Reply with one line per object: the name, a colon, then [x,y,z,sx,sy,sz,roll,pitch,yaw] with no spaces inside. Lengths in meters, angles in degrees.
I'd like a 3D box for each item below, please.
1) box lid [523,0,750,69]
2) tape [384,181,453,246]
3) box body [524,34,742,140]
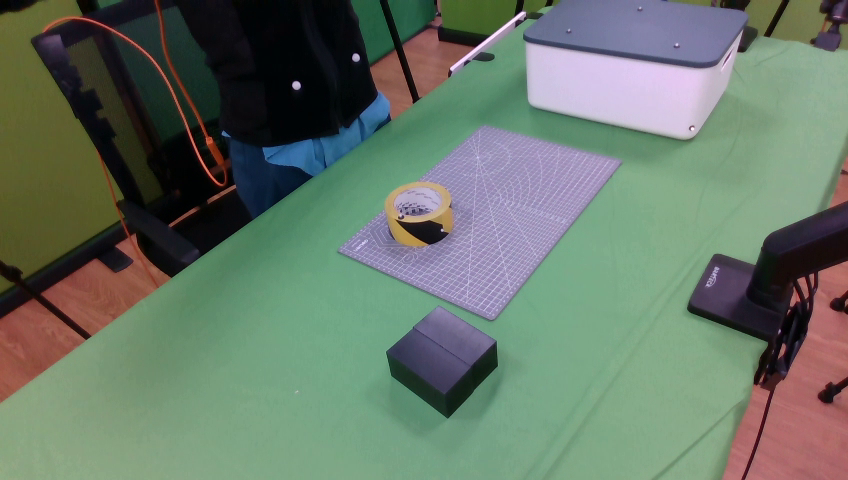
box lid: [0.405,-0.409,1.163,0.368,0.015,0.264,20,47,29]
tape: [-0.009,-0.045,0.994,0.117,0.053,0.116,-4,40,4]
box body: [0.412,-0.354,1.213,0.361,0.161,0.254,20,48,29]
